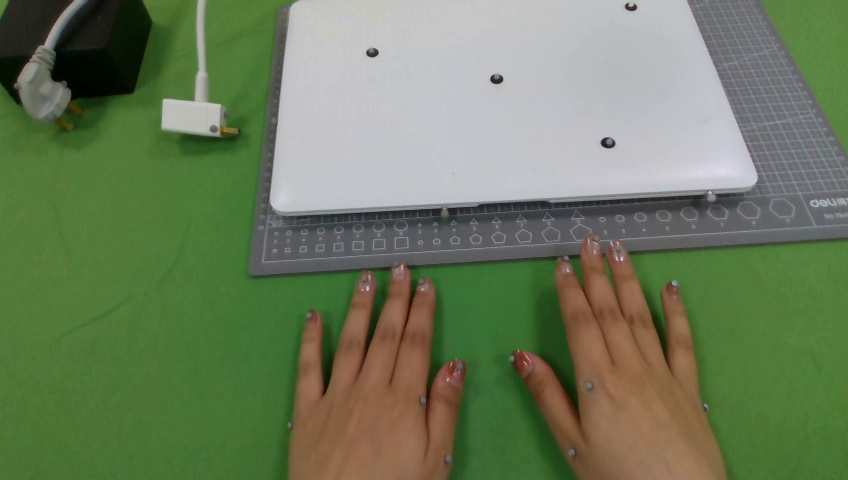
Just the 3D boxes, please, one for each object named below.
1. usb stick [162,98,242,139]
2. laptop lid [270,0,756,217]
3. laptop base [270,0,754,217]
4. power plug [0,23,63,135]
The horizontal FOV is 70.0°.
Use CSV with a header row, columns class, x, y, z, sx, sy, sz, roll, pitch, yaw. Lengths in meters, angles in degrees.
class,x,y,z,sx,sy,sz,roll,pitch,yaw
usb stick,-0.175,-0.095,0.483,0.059,0.021,0.027,9,94,-6
laptop lid,0.059,-0.126,0.489,0.357,0.013,0.239,-2,59,1
laptop base,0.060,-0.121,0.500,0.354,0.023,0.233,-3,61,0
power plug,-0.315,-0.120,0.467,0.035,0.073,0.052,-2,46,40
